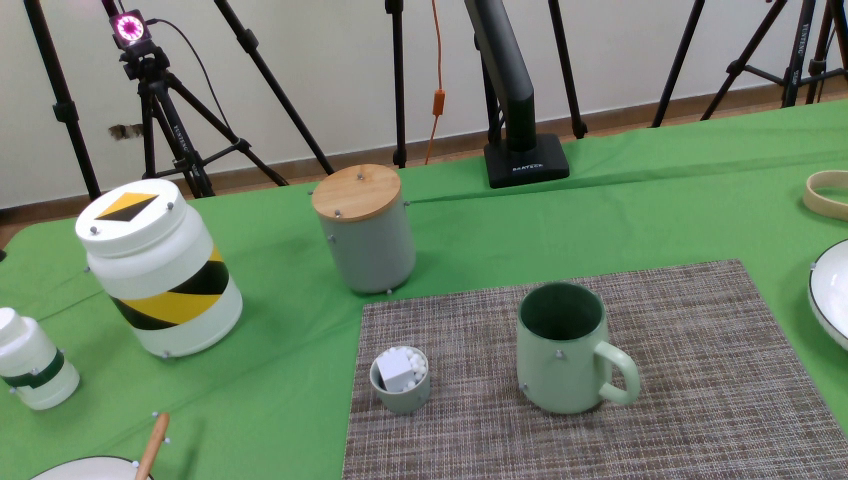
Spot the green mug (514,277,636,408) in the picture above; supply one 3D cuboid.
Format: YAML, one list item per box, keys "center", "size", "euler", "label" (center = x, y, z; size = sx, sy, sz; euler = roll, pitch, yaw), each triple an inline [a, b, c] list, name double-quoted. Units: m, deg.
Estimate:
- center: [0.143, 0.105, 0.574]
  size: [0.124, 0.106, 0.092]
  euler: [26, 53, 38]
  label: "green mug"

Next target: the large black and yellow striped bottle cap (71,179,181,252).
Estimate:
- center: [-0.330, -0.030, 0.672]
  size: [0.115, 0.019, 0.114]
  euler: [-7, 38, 6]
  label: "large black and yellow striped bottle cap"

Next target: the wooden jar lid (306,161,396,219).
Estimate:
- center: [-0.085, -0.057, 0.721]
  size: [0.108, 0.021, 0.107]
  euler: [-7, 42, 6]
  label: "wooden jar lid"

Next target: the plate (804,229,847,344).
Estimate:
- center: [0.491, 0.061, 0.595]
  size: [0.207, 0.039, 0.205]
  euler: [-7, 39, 6]
  label: "plate"

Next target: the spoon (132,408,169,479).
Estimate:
- center: [-0.265, 0.239, 0.554]
  size: [0.041, 0.022, 0.192]
  euler: [-5, 47, 6]
  label: "spoon"

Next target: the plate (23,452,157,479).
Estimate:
- center: [-0.325, 0.289, 0.534]
  size: [0.209, 0.038, 0.207]
  euler: [-7, 39, 6]
  label: "plate"

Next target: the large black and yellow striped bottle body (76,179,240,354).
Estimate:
- center: [-0.315, 0.032, 0.726]
  size: [0.130, 0.186, 0.129]
  euler: [-7, 39, 6]
  label: "large black and yellow striped bottle body"

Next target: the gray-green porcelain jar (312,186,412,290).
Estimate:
- center: [-0.074, -0.009, 0.760]
  size: [0.106, 0.128, 0.105]
  euler: [-7, 39, 6]
  label: "gray-green porcelain jar"

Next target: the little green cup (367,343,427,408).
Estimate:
- center: [-0.026, 0.142, 0.627]
  size: [0.061, 0.039, 0.061]
  euler: [-7, 38, 6]
  label: "little green cup"

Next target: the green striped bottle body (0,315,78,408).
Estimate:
- center: [-0.458, 0.133, 0.693]
  size: [0.063, 0.120, 0.062]
  euler: [-8, 39, 7]
  label: "green striped bottle body"

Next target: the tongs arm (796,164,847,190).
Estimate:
- center: [0.651, -0.057, 0.696]
  size: [0.382, 0.027, 0.050]
  euler: [10, 49, 26]
  label: "tongs arm"

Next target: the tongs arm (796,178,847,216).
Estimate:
- center: [0.613, -0.006, 0.651]
  size: [0.384, 0.028, 0.028]
  euler: [20, 58, 34]
  label: "tongs arm"

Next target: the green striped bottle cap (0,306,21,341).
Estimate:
- center: [-0.468, 0.093, 0.661]
  size: [0.044, 0.020, 0.044]
  euler: [-5, 40, 5]
  label: "green striped bottle cap"
